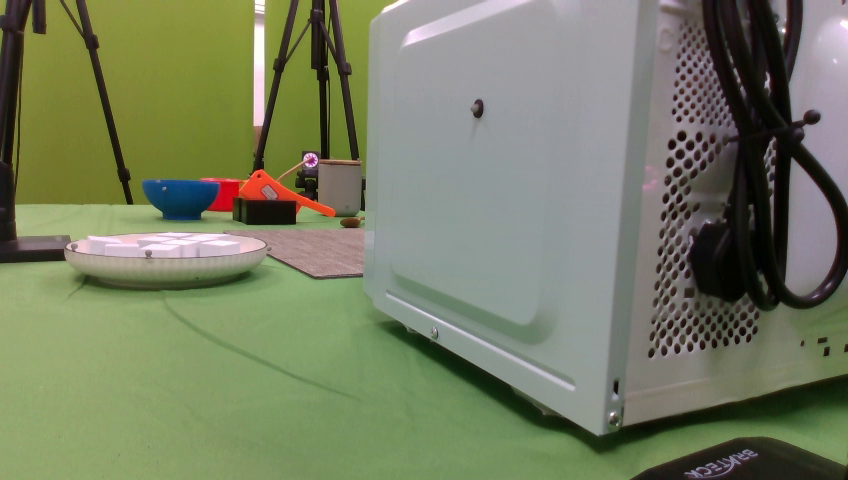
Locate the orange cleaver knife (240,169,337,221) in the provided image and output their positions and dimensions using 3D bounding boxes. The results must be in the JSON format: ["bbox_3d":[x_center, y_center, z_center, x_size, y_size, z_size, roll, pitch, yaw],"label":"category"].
[{"bbox_3d":[-0.287,-0.081,1.299,0.212,0.077,0.012,25,-2,-32],"label":"orange cleaver knife"}]

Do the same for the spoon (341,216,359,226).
[{"bbox_3d":[-0.132,-0.048,1.305,0.041,0.021,0.194,-15,4,14],"label":"spoon"}]

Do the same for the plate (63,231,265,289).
[{"bbox_3d":[-0.288,0.021,0.687,0.208,0.039,0.207,2,8,0],"label":"plate"}]

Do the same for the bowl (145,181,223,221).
[{"bbox_3d":[-0.499,-0.081,1.261,0.151,0.077,0.151,2,8,0],"label":"bowl"}]

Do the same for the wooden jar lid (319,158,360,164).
[{"bbox_3d":[-0.202,-0.189,1.482,0.108,0.020,0.108,2,10,0],"label":"wooden jar lid"}]

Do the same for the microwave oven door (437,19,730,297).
[{"bbox_3d":[0.181,-0.076,0.618,0.358,0.243,0.039,-2,9,-28],"label":"microwave oven door"}]

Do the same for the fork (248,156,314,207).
[{"bbox_3d":[-0.360,-0.147,1.523,0.207,0.019,0.028,-43,16,-6],"label":"fork"}]

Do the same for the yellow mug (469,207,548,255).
[{"bbox_3d":[0.136,-0.015,0.950,0.131,0.064,0.099,3,6,-20],"label":"yellow mug"}]

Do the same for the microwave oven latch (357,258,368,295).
[{"bbox_3d":[-0.019,0.031,0.529,0.079,0.029,0.030,-1,7,-26],"label":"microwave oven latch"}]

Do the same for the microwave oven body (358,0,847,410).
[{"bbox_3d":[0.210,-0.051,0.471,0.444,0.260,0.324,-1,7,-28],"label":"microwave oven body"}]

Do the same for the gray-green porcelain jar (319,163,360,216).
[{"bbox_3d":[-0.204,-0.126,1.490,0.106,0.126,0.106,2,8,0],"label":"gray-green porcelain jar"}]

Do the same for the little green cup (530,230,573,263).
[{"bbox_3d":[0.184,0.010,0.880,0.061,0.038,0.061,4,10,0],"label":"little green cup"}]
